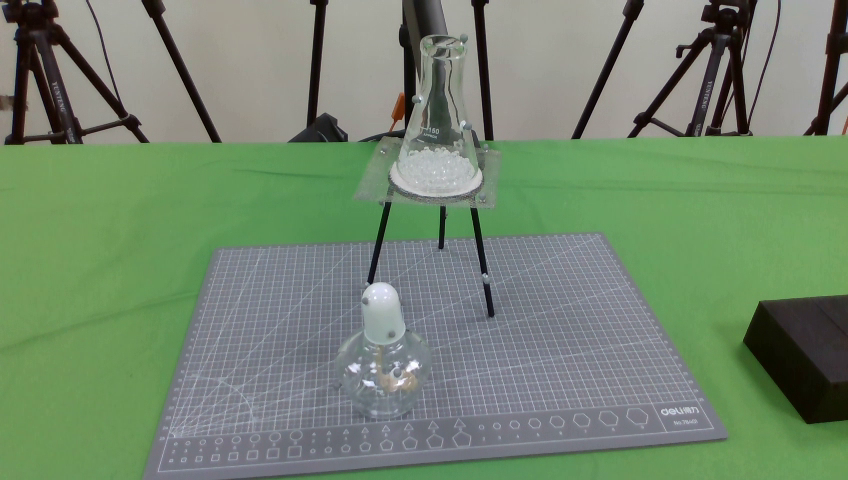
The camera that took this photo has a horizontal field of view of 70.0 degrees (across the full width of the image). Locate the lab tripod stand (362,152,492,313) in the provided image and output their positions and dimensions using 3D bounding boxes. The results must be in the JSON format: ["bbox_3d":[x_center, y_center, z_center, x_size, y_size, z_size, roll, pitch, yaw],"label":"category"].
[{"bbox_3d":[0.012,-0.007,0.592,0.148,0.132,0.147,3,34,-2],"label":"lab tripod stand"}]

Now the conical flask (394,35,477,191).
[{"bbox_3d":[0.012,-0.109,0.518,0.075,0.123,0.074,2,35,-1],"label":"conical flask"}]

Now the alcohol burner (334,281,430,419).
[{"bbox_3d":[-0.033,0.082,0.477,0.078,0.120,0.077,1,33,0],"label":"alcohol burner"}]

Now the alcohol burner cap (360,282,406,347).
[{"bbox_3d":[-0.032,0.053,0.455,0.034,0.048,0.033,-4,38,3],"label":"alcohol burner cap"}]

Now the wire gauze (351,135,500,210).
[{"bbox_3d":[0.007,-0.062,0.555,0.121,0.011,0.124,6,37,6],"label":"wire gauze"}]
